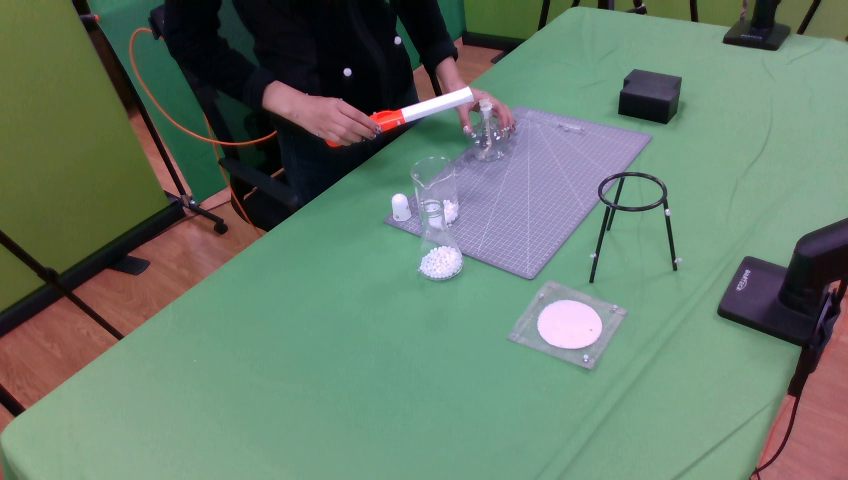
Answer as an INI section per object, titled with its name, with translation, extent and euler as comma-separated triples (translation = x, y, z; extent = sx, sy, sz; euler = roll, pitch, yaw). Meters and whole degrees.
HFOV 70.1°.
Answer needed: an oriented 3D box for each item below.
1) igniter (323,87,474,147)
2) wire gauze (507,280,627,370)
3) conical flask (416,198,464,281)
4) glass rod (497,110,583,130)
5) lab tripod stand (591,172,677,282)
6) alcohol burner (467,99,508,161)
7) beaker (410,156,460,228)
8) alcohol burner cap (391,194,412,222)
[igniter]
translation = -0.047, -0.218, 1.075
extent = 0.277, 0.025, 0.057
euler = -18, 44, 1
[wire gauze]
translation = 0.196, 0.114, 0.823
extent = 0.120, 0.011, 0.125
euler = 20, 50, 31
[conical flask]
translation = 0.019, -0.004, 0.907
extent = 0.075, 0.122, 0.075
euler = -5, 40, 5
[glass rod]
translation = 0.233, -0.245, 1.235
extent = 0.198, 0.008, 0.008
euler = 21, 49, 35
[lab tripod stand]
translation = 0.292, -0.022, 0.867
extent = 0.148, 0.132, 0.147
euler = -7, 39, 6
[alcohol burner]
translation = 0.119, -0.210, 1.134
extent = 0.078, 0.119, 0.077
euler = -4, 39, 4
[beaker]
translation = 0.020, -0.076, 1.006
extent = 0.074, 0.101, 0.084
euler = 3, 42, 15
[alcohol burner cap]
translation = -0.041, -0.057, 1.040
extent = 0.034, 0.048, 0.033
euler = -6, 41, 5
